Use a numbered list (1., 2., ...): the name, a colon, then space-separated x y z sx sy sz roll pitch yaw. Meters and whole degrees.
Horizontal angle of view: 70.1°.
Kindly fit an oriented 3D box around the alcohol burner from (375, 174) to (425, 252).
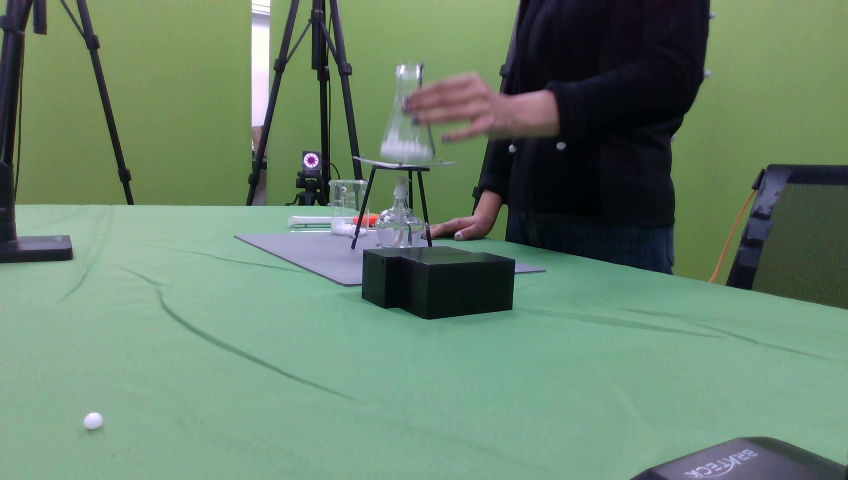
1. alcohol burner: -0.036 -0.042 0.934 0.078 0.119 0.078 2 9 0

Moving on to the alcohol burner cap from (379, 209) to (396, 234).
1. alcohol burner cap: -0.070 -0.036 1.154 0.034 0.048 0.034 3 8 0

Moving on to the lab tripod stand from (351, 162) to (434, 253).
1. lab tripod stand: -0.034 -0.052 0.934 0.148 0.131 0.148 4 7 0

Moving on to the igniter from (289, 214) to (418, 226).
1. igniter: -0.141 -0.042 1.258 0.278 0.025 0.057 -1 -1 -30

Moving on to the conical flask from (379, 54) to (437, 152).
1. conical flask: -0.019 -0.177 0.787 0.075 0.122 0.075 2 6 0

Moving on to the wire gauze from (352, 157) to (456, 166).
1. wire gauze: -0.029 -0.119 0.927 0.122 0.011 0.124 -3 9 -36

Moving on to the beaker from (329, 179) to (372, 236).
1. beaker: -0.137 -0.061 1.101 0.084 0.100 0.074 4 7 20

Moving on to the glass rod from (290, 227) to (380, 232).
1. glass rod: -0.161 -0.022 1.178 0.201 0.008 0.008 -2 8 -28
